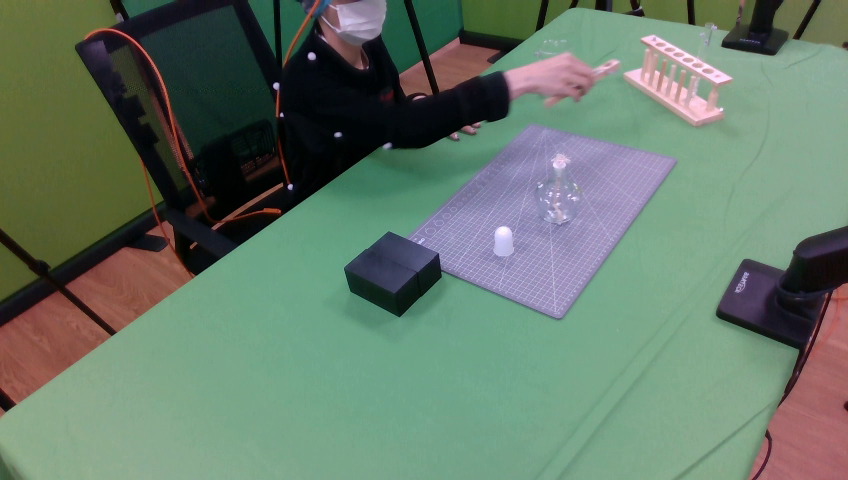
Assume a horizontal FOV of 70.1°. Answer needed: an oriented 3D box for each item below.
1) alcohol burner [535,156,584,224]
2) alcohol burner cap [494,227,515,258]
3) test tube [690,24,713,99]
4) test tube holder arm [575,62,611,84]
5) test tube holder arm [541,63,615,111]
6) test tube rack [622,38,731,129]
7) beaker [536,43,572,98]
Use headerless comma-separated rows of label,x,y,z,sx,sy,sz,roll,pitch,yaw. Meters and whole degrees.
alcohol burner,0.217,-0.085,0.967,0.078,0.119,0.077,-3,41,3
alcohol burner cap,0.124,0.001,0.936,0.034,0.048,0.033,-4,40,4
test tube,0.534,-0.342,1.172,0.017,0.151,0.017,-3,41,3
test tube holder arm,0.313,-0.304,1.114,0.088,0.015,0.010,-32,44,-21
test tube holder arm,0.280,-0.278,1.094,0.179,0.015,0.013,-33,44,-21
test tube rack,0.506,-0.325,1.234,0.067,0.085,0.240,-18,41,-11
beaker,0.281,-0.368,1.311,0.074,0.101,0.084,4,41,14
